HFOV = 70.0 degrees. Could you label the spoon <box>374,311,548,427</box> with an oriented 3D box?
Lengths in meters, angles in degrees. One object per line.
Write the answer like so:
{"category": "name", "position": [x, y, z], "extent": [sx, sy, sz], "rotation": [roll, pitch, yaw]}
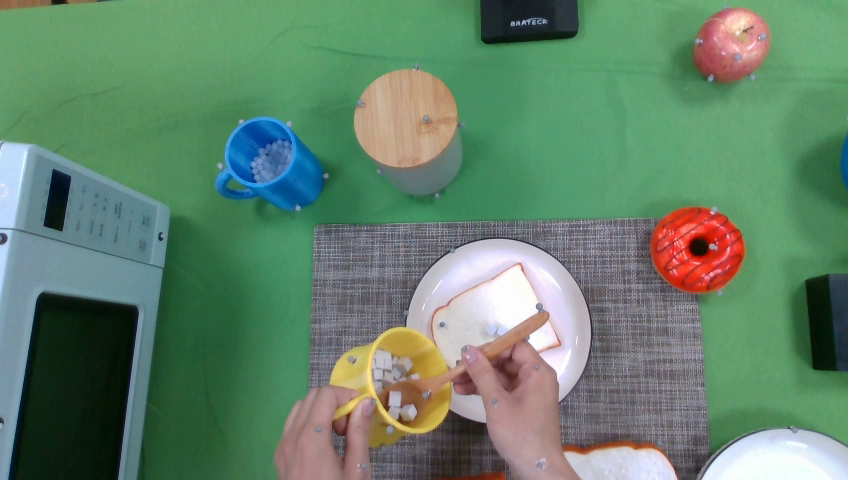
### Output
{"category": "spoon", "position": [0.031, 0.119, 0.554], "extent": [0.194, 0.022, 0.041], "rotation": [-34, 84, 17]}

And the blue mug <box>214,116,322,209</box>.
{"category": "blue mug", "position": [-0.190, -0.081, 0.717], "extent": [0.116, 0.106, 0.082], "rotation": [-26, 78, 2]}

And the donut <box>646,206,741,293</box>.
{"category": "donut", "position": [0.297, 0.010, 0.673], "extent": [0.099, 0.048, 0.098], "rotation": [-1, 81, 7]}

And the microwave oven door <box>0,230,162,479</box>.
{"category": "microwave oven door", "position": [-0.363, 0.184, 0.603], "extent": [0.039, 0.245, 0.354], "rotation": [2, 80, 7]}

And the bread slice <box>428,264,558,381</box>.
{"category": "bread slice", "position": [0.072, 0.101, 0.687], "extent": [0.131, 0.019, 0.104], "rotation": [-27, 78, 1]}

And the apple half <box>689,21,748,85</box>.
{"category": "apple half", "position": [0.327, -0.205, 0.694], "extent": [0.033, 0.081, 0.081], "rotation": [-33, 77, -5]}

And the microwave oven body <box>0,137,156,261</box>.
{"category": "microwave oven body", "position": [-0.503, 0.136, 0.633], "extent": [0.325, 0.261, 0.440], "rotation": [2, 81, 7]}

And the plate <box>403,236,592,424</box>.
{"category": "plate", "position": [0.082, 0.099, 0.686], "extent": [0.207, 0.039, 0.207], "rotation": [-1, 80, 7]}

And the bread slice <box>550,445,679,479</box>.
{"category": "bread slice", "position": [0.203, 0.269, 0.619], "extent": [0.135, 0.018, 0.106], "rotation": [-5, 76, -14]}

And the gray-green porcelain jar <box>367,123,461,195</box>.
{"category": "gray-green porcelain jar", "position": [-0.012, -0.112, 0.692], "extent": [0.106, 0.127, 0.105], "rotation": [-1, 79, 7]}

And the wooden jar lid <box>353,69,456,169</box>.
{"category": "wooden jar lid", "position": [-0.020, -0.124, 0.631], "extent": [0.108, 0.021, 0.108], "rotation": [-1, 78, 7]}

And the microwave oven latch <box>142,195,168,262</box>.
{"category": "microwave oven latch", "position": [-0.334, -0.014, 0.738], "extent": [0.030, 0.029, 0.079], "rotation": [5, 81, 7]}

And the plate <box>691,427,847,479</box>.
{"category": "plate", "position": [0.370, 0.298, 0.621], "extent": [0.209, 0.038, 0.208], "rotation": [-1, 80, 7]}

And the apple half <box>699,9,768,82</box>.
{"category": "apple half", "position": [0.359, -0.227, 0.696], "extent": [0.053, 0.075, 0.080], "rotation": [-32, 74, -5]}

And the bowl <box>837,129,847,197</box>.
{"category": "bowl", "position": [0.512, -0.077, 0.649], "extent": [0.151, 0.077, 0.151], "rotation": [-1, 80, 7]}

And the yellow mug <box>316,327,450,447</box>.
{"category": "yellow mug", "position": [-0.043, 0.143, 0.566], "extent": [0.064, 0.131, 0.099], "rotation": [-33, 77, 41]}
